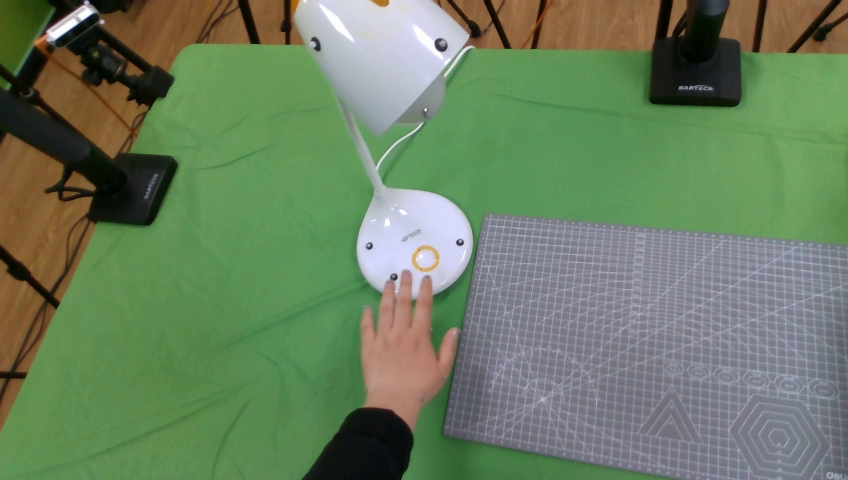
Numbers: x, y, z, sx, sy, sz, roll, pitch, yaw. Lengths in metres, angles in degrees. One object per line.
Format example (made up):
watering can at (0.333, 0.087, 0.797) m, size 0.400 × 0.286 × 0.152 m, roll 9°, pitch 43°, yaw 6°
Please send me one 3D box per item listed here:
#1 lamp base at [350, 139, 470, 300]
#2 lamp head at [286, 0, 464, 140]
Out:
lamp base at (-0.040, -0.035, 0.757) m, size 0.160 × 0.182 × 0.177 m, roll -39°, pitch 60°, yaw -9°
lamp head at (-0.048, -0.158, 0.483) m, size 0.123 × 0.112 × 0.112 m, roll 40°, pitch 75°, yaw -9°
